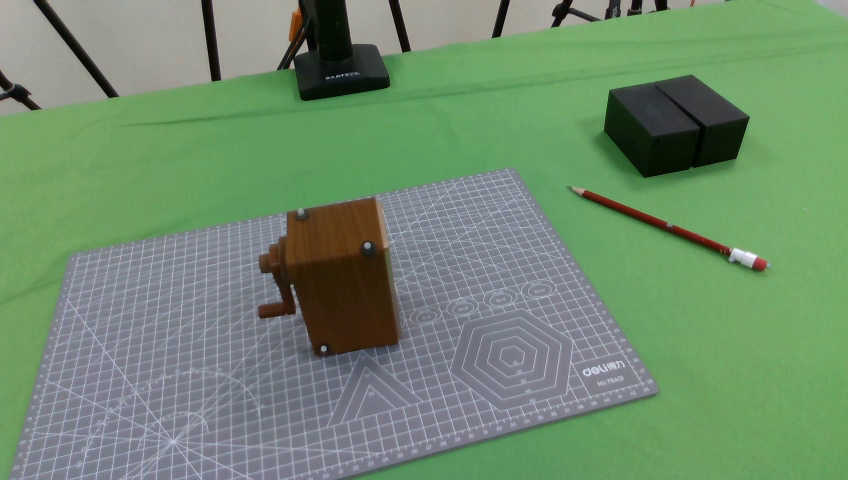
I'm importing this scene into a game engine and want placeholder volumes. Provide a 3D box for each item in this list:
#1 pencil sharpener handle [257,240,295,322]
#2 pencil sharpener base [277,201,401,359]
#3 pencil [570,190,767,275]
[{"bbox_3d":[-0.113,0.033,0.445,0.031,0.068,0.035,-9,35,-5],"label":"pencil sharpener handle"},{"bbox_3d":[-0.062,0.033,0.459,0.077,0.108,0.060,-9,42,-5],"label":"pencil sharpener base"},{"bbox_3d":[0.219,-0.012,0.566,0.192,0.012,0.012,29,51,34],"label":"pencil"}]
